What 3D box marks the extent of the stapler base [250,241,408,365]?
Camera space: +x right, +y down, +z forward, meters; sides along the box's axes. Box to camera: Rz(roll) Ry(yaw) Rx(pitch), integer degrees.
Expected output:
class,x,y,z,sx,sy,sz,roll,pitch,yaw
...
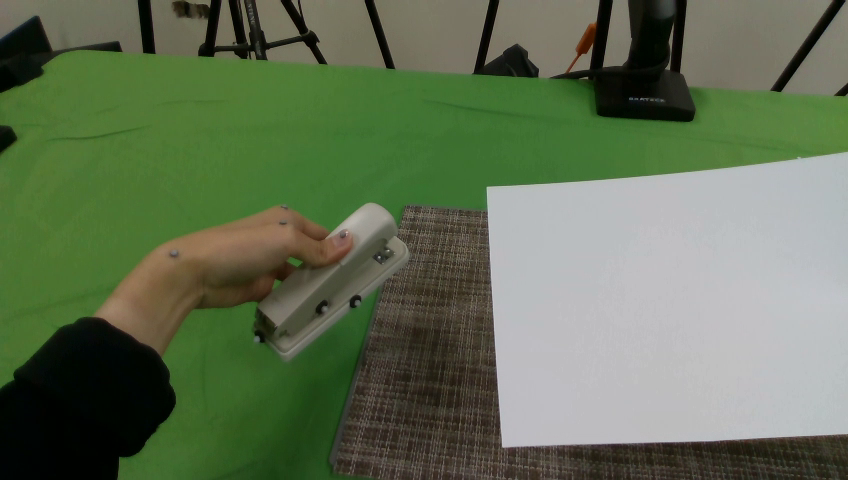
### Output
class,x,y,z,sx,sy,sz,roll,pitch,yaw
stapler base,-0.067,0.034,0.447,0.041,0.024,0.130,38,62,24

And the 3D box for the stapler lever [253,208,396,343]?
class,x,y,z,sx,sy,sz,roll,pitch,yaw
stapler lever,-0.067,0.021,0.426,0.026,0.040,0.118,37,61,25
